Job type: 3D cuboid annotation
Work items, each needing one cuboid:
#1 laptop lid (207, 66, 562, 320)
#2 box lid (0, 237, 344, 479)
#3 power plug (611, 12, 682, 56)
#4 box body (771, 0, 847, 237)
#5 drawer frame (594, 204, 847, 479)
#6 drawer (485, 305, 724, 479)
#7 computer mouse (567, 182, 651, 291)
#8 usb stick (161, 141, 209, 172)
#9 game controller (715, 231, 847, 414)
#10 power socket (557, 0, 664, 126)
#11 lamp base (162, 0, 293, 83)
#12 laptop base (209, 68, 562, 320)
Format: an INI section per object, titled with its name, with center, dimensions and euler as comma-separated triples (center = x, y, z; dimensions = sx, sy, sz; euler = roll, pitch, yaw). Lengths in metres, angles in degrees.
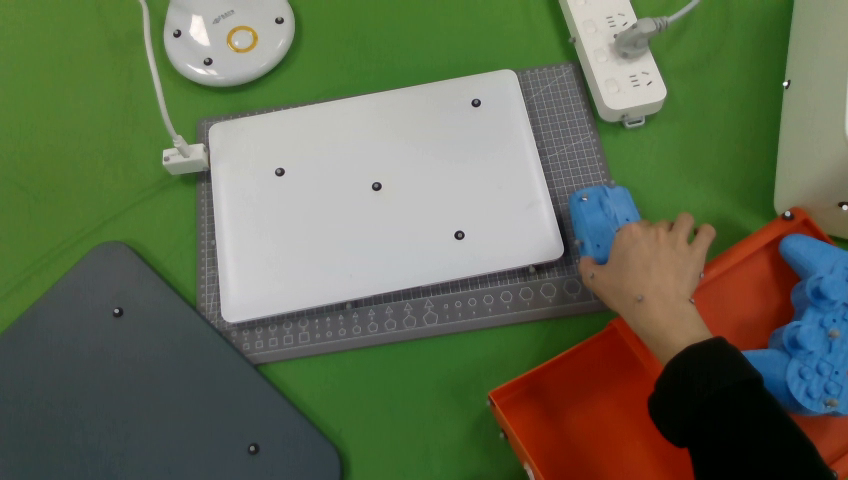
[laptop lid]
center = -0.051, -0.058, 0.644
dimensions = 0.357, 0.013, 0.240
euler = -9, 71, 0
[box lid]
center = -0.286, 0.187, 0.580
dimensions = 0.369, 0.015, 0.263
euler = 39, 76, 16
[power plug]
center = 0.244, -0.221, 0.670
dimensions = 0.072, 0.053, 0.035
euler = -1, 67, 1
[box body]
center = 0.507, -0.173, 0.591
dimensions = 0.253, 0.161, 0.362
euler = 14, 70, 8
[drawer frame]
center = 0.298, 0.106, 0.539
dimensions = 0.213, 0.083, 0.200
euler = -30, 69, -8
[drawer]
center = 0.188, 0.169, 0.524
dimensions = 0.212, 0.074, 0.193
euler = -28, 70, -8
[computer mouse]
center = 0.183, -0.007, 0.601
dimensions = 0.063, 0.041, 0.116
euler = -7, 66, 1
[usb stick]
center = -0.255, -0.093, 0.668
dimensions = 0.059, 0.027, 0.021
euler = -6, 63, -3
[game controller]
center = 0.318, 0.068, 0.498
dimensions = 0.097, 0.052, 0.155
euler = 32, 75, 11
[power socket]
center = 0.210, -0.236, 0.703
dimensions = 0.072, 0.033, 0.225
euler = -11, 68, -3
[lamp base]
center = -0.254, -0.296, 0.674
dimensions = 0.178, 0.181, 0.160
euler = 39, 75, 19
[laptop base]
center = -0.050, -0.056, 0.656
dimensions = 0.354, 0.023, 0.234
euler = -11, 72, -1
